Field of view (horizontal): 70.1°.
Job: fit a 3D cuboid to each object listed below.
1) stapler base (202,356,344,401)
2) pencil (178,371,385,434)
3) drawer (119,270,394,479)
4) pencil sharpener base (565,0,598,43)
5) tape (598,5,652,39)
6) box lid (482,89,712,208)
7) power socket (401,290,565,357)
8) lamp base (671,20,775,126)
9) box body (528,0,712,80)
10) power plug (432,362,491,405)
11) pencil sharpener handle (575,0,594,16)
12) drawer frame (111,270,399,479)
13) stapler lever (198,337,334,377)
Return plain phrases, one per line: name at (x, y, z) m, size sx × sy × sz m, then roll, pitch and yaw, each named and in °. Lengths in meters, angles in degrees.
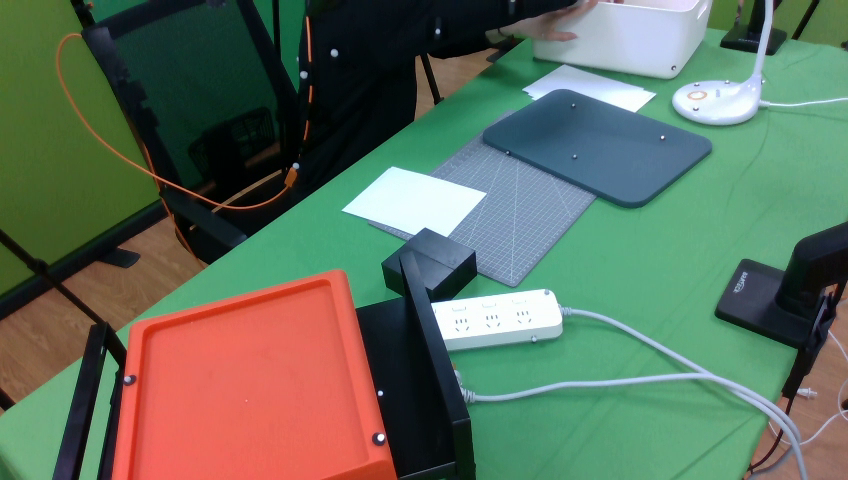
stapler base at (-0.141, 0.123, 0.557) m, size 0.130 × 0.024 × 0.041 m, roll -2°, pitch 43°, yaw 3°
pencil at (-0.128, 0.141, 0.534) m, size 0.194 × 0.012 × 0.012 m, roll 14°, pitch 44°, yaw 7°
drawer at (-0.141, 0.139, 0.509) m, size 0.195 × 0.073 × 0.210 m, roll -14°, pitch 42°, yaw -8°
pencil sharpener base at (0.387, -0.550, 1.484) m, size 0.061 × 0.107 × 0.077 m, roll 13°, pitch 43°, yaw 24°
tape at (0.478, -0.516, 1.430) m, size 0.117 × 0.053 × 0.116 m, roll 7°, pitch 31°, yaw -4°
box lid at (0.320, -0.190, 1.156) m, size 0.264 × 0.015 × 0.368 m, roll -33°, pitch 47°, yaw -28°
power socket at (0.080, 0.113, 0.821) m, size 0.227 × 0.033 × 0.072 m, roll -6°, pitch 41°, yaw 0°
lamp base at (0.582, -0.332, 1.153) m, size 0.179 × 0.181 × 0.160 m, roll 2°, pitch 41°, yaw 7°
box body at (0.451, -0.513, 1.399) m, size 0.361 × 0.161 × 0.254 m, roll 19°, pitch 48°, yaw 28°
power plug at (0.044, 0.182, 0.759) m, size 0.073 × 0.035 × 0.052 m, roll 23°, pitch 42°, yaw -19°
pencil sharpener handle at (0.401, -0.593, 1.512) m, size 0.036 × 0.067 × 0.030 m, roll 34°, pitch 48°, yaw 2°
drawer frame at (-0.140, 0.140, 0.506) m, size 0.202 × 0.083 × 0.212 m, roll -15°, pitch 41°, yaw -9°
stapler lever at (-0.142, 0.105, 0.541) m, size 0.118 × 0.040 × 0.026 m, roll -3°, pitch 43°, yaw 4°
